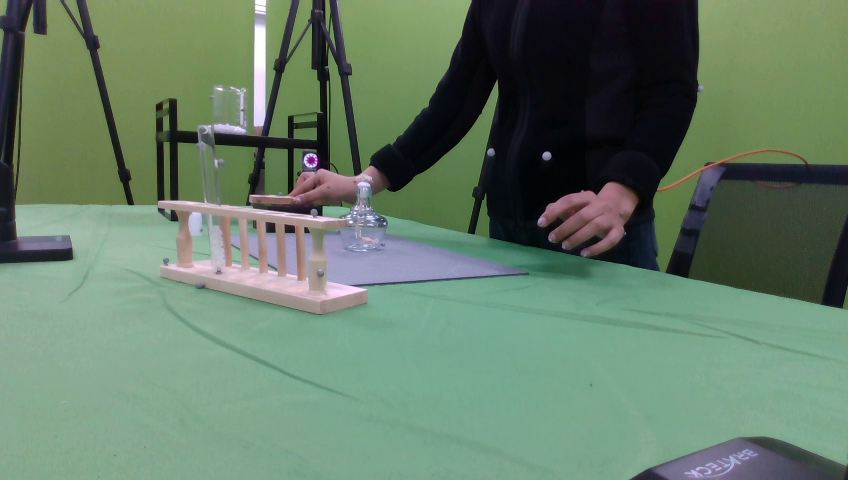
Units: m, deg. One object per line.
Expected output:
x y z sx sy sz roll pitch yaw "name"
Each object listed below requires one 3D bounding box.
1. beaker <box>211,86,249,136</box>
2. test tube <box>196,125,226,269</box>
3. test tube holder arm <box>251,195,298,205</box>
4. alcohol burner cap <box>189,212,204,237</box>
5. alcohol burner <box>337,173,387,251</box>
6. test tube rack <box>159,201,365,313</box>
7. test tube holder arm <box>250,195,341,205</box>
-0.413 -0.274 1.297 0.074 0.100 0.083 -5 11 -44 "beaker"
-0.221 -0.043 0.629 0.017 0.150 0.017 -3 8 1 "test tube"
-0.277 -0.074 1.124 0.088 0.015 0.010 0 22 -33 "test tube holder arm"
-0.389 -0.029 1.025 0.034 0.048 0.034 2 9 0 "alcohol burner cap"
-0.095 -0.043 0.926 0.078 0.119 0.078 3 6 0 "alcohol burner"
-0.173 0.009 0.624 0.241 0.085 0.067 7 9 34 "test tube rack"
-0.242 -0.076 1.153 0.179 0.015 0.013 0 22 -34 "test tube holder arm"
